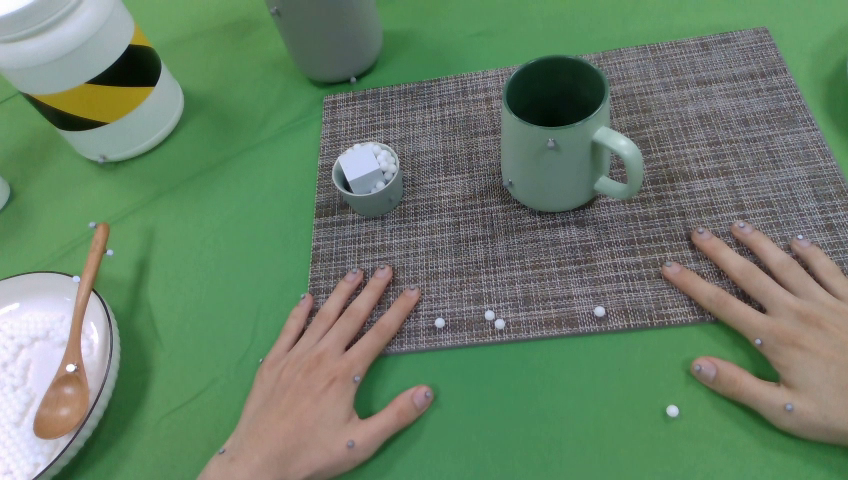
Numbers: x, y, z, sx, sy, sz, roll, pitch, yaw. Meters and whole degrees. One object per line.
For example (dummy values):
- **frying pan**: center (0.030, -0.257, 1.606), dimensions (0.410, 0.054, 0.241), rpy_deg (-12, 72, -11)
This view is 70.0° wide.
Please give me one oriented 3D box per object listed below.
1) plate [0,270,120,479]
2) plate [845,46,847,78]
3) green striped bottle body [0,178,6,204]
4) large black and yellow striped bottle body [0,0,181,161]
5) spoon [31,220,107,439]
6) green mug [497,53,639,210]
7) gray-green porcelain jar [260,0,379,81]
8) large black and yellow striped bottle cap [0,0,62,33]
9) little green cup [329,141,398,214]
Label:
- **plate**: center (-0.346, 0.123, 0.500), dimensions (0.209, 0.038, 0.207), rpy_deg (-5, 57, 8)
- **plate**: center (0.463, -0.136, 0.501), dimensions (0.207, 0.039, 0.205), rpy_deg (-5, 58, 8)
- **green striped bottle body**: center (-0.487, -0.072, 0.600), dimensions (0.063, 0.120, 0.062), rpy_deg (-5, 57, 9)
- **large black and yellow striped bottle body**: center (-0.346, -0.182, 0.602), dimensions (0.130, 0.186, 0.129), rpy_deg (-5, 58, 8)
- **spoon**: center (-0.288, 0.067, 0.504), dimensions (0.041, 0.022, 0.192), rpy_deg (-5, 66, 6)
- **green mug**: center (0.116, -0.077, 0.489), dimensions (0.124, 0.106, 0.092), rpy_deg (35, 70, 28)
- **gray-green porcelain jar**: center (-0.107, -0.238, 0.625), dimensions (0.106, 0.128, 0.105), rpy_deg (-5, 57, 8)
- **large black and yellow striped bottle cap**: center (-0.361, -0.225, 0.531), dimensions (0.115, 0.019, 0.114), rpy_deg (-5, 56, 8)
- **little green cup**: center (-0.052, -0.055, 0.547), dimensions (0.061, 0.039, 0.061), rpy_deg (-4, 57, 7)
